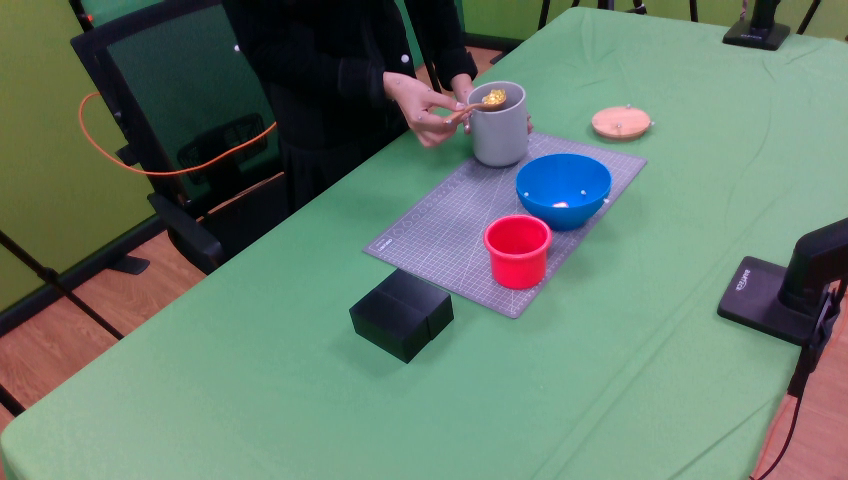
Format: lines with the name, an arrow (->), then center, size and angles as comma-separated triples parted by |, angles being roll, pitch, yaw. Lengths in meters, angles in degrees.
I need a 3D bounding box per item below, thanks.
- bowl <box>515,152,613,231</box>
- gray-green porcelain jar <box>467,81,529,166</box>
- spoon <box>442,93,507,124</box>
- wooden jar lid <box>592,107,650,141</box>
bowl -> 0.224, -0.068, 0.972 | 0.151, 0.077, 0.150 | -5, 40, 5
gray-green porcelain jar -> 0.137, -0.208, 1.106 | 0.106, 0.127, 0.105 | -7, 44, 7
spoon -> 0.084, -0.223, 1.017 | 0.041, 0.022, 0.195 | 13, 27, 33
wooden jar lid -> 0.382, -0.225, 1.178 | 0.108, 0.021, 0.108 | -5, 40, 4
